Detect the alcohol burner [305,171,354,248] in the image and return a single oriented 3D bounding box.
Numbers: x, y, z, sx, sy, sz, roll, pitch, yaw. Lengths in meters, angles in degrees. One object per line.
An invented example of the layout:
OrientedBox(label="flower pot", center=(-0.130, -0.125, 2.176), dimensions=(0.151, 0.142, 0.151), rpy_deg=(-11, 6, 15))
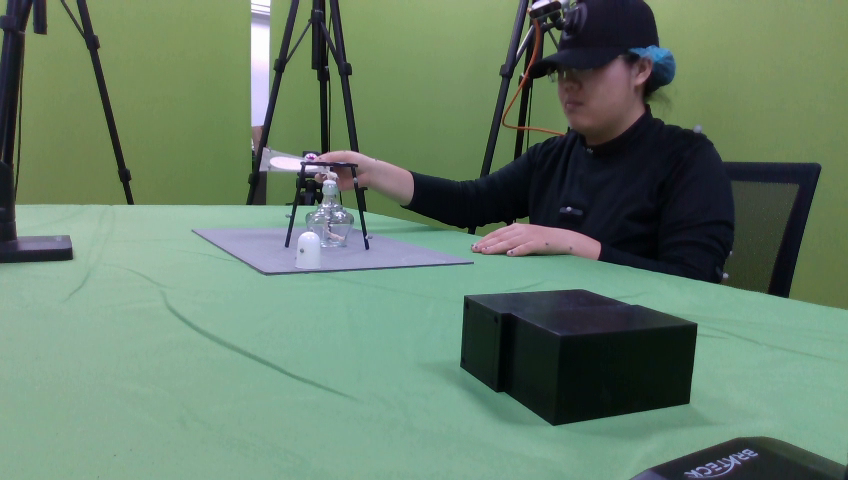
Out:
OrientedBox(label="alcohol burner", center=(-0.148, -0.048, 0.949), dimensions=(0.078, 0.119, 0.078), rpy_deg=(1, 6, 0))

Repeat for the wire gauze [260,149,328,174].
OrientedBox(label="wire gauze", center=(-0.233, -0.141, 1.100), dimensions=(0.122, 0.011, 0.124), rpy_deg=(6, 21, -14))

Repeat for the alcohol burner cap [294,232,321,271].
OrientedBox(label="alcohol burner cap", center=(-0.144, 0.013, 0.748), dimensions=(0.034, 0.048, 0.034), rpy_deg=(3, 6, 0))

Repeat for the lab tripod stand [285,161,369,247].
OrientedBox(label="lab tripod stand", center=(-0.151, -0.058, 0.947), dimensions=(0.148, 0.131, 0.148), rpy_deg=(1, 7, 0))
